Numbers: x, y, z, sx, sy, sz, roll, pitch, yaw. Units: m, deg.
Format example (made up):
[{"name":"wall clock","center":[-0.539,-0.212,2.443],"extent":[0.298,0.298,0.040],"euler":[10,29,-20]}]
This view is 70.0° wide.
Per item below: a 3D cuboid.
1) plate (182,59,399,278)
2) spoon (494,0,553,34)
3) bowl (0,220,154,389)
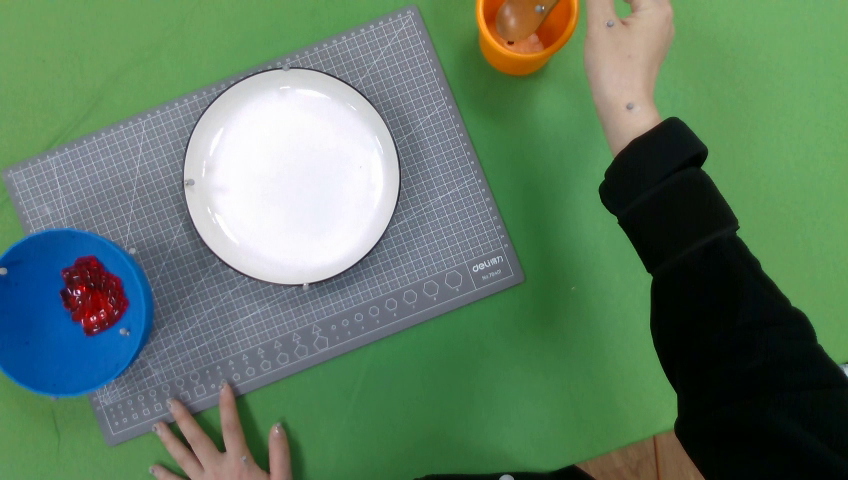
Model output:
[{"name":"plate","center":[-0.126,-0.068,0.589],"extent":[0.209,0.038,0.209],"euler":[0,90,1]},{"name":"spoon","center":[0.121,-0.209,0.485],"extent":[0.022,0.192,0.041],"euler":[-11,95,-29]},{"name":"bowl","center":[-0.318,0.057,0.570],"extent":[0.151,0.077,0.151],"euler":[0,90,0]}]
